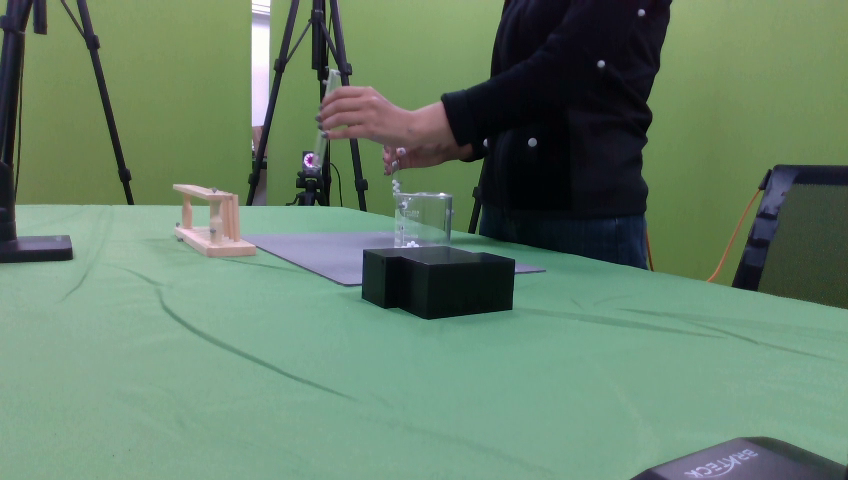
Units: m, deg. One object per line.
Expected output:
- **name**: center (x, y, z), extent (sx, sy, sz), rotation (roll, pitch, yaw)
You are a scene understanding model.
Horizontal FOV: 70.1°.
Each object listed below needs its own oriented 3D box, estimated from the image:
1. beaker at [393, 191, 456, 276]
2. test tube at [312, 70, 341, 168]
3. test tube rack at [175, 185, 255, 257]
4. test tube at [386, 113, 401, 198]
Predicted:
- **beaker**: center (-0.003, -0.010, 0.749), extent (0.074, 0.100, 0.083), rotation (-3, 8, -40)
- **test tube**: center (-0.147, -0.183, 0.916), extent (0.017, 0.150, 0.017), rotation (12, 1, 0)
- **test tube rack**: center (-0.324, -0.035, 0.922), extent (0.067, 0.085, 0.241), rotation (-2, 9, -31)
- **test tube**: center (-0.053, -0.147, 1.067), extent (0.017, 0.150, 0.017), rotation (-4, 15, 1)
